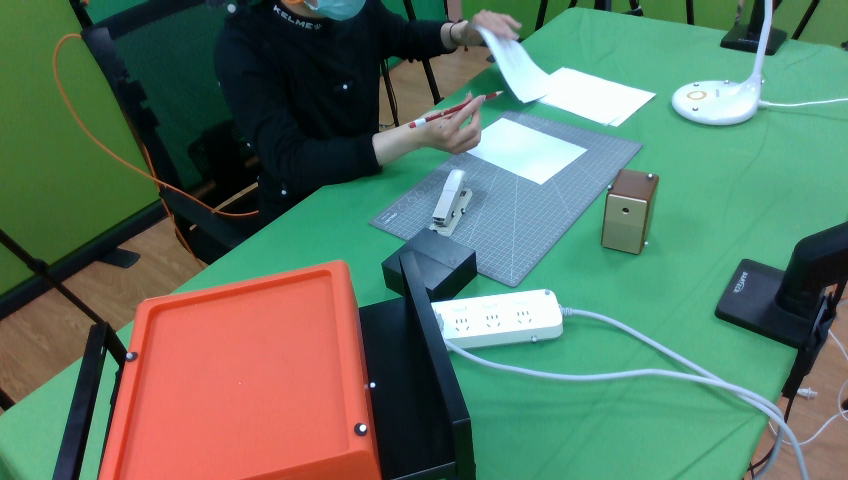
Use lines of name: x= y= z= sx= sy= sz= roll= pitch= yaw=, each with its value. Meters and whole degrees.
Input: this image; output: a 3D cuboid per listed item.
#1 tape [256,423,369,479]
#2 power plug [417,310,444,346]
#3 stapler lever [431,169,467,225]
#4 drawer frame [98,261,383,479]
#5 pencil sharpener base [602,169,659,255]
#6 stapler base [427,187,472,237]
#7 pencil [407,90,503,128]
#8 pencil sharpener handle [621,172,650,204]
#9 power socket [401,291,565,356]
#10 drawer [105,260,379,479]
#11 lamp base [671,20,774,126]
tape: x=-0.121 y=0.263 z=0.660 sx=0.117 sy=0.053 sz=0.116 roll=-4 pitch=40 yaw=4
power plug: x=0.006 y=0.122 z=0.785 sx=0.035 sy=0.053 sz=0.072 roll=-1 pitch=40 yaw=8
stapler lever: x=0.043 y=-0.074 z=1.010 sx=0.026 sy=0.040 sz=0.118 roll=9 pitch=44 yaw=21
drawer frame: x=-0.148 y=0.129 z=0.520 sx=0.202 sy=0.083 sz=0.212 roll=-12 pitch=41 yaw=-6
pencil sharpener base: x=0.311 y=-0.044 z=0.914 sx=0.061 sy=0.107 sz=0.077 roll=14 pitch=45 yaw=24
stapler base: x=0.045 y=-0.057 z=1.028 sx=0.041 sy=0.024 sz=0.130 roll=9 pitch=44 yaw=20
pencil: x=0.057 y=-0.227 z=1.036 sx=0.195 sy=0.012 sz=0.012 roll=-24 pitch=43 yaw=-21
pencil sharpener handle: x=0.328 y=-0.086 z=0.941 sx=0.036 sy=0.068 sz=0.030 roll=30 pitch=49 yaw=8
power socket: x=0.080 y=0.112 z=0.822 sx=0.227 sy=0.033 sz=0.072 roll=-6 pitch=41 yaw=0
drawer: x=-0.150 y=0.127 z=0.525 sx=0.195 sy=0.073 sz=0.210 roll=-11 pitch=41 yaw=-5
lamp base: x=0.581 y=-0.332 z=1.154 sx=0.179 sy=0.181 sz=0.160 roll=2 pitch=41 yaw=7
